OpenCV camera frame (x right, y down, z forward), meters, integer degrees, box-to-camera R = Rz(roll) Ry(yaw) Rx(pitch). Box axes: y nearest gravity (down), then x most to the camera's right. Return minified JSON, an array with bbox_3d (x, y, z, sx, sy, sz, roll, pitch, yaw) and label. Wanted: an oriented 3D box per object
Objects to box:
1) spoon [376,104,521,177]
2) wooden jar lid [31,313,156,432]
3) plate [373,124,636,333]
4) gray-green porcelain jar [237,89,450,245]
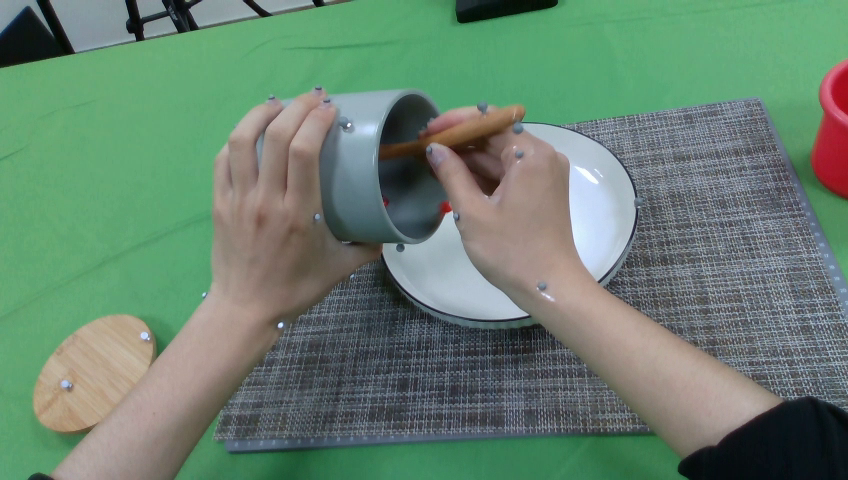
[{"bbox_3d":[-0.002,-0.064,0.415,0.193,0.022,0.041,-7,69,50],"label":"spoon"},{"bbox_3d":[-0.275,0.112,0.513,0.108,0.021,0.107,-7,51,9],"label":"wooden jar lid"},{"bbox_3d":[0.063,-0.011,0.495,0.207,0.039,0.205,-8,50,10],"label":"plate"},{"bbox_3d":[-0.060,-0.052,0.438,0.126,0.107,0.105,4,53,28],"label":"gray-green porcelain jar"}]
